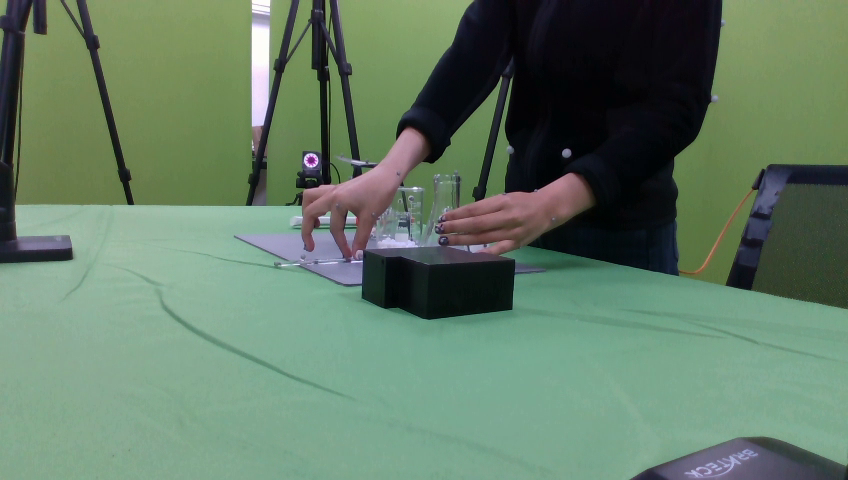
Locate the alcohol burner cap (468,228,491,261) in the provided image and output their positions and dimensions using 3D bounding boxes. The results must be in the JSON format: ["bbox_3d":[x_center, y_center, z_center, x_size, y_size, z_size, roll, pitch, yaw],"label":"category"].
[{"bbox_3d":[0.082,0.006,0.878,0.034,0.048,0.034,4,7,0],"label":"alcohol burner cap"}]

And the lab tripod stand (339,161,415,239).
[{"bbox_3d":[-0.082,-0.070,1.059,0.148,0.131,0.148,4,6,0],"label":"lab tripod stand"}]

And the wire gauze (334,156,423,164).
[{"bbox_3d":[-0.081,-0.137,1.051,0.122,0.011,0.124,0,8,-30],"label":"wire gauze"}]

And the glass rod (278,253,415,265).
[{"bbox_3d":[-0.097,0.024,0.805,0.201,0.008,0.008,-3,8,-33],"label":"glass rod"}]

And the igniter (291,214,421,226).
[{"bbox_3d":[-0.135,-0.041,1.250,0.278,0.025,0.057,-1,-3,-28],"label":"igniter"}]

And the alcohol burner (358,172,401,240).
[{"bbox_3d":[-0.077,-0.061,1.065,0.078,0.119,0.078,4,9,0],"label":"alcohol burner"}]

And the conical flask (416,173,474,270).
[{"bbox_3d":[0.028,-0.025,0.778,0.075,0.122,0.075,2,6,0],"label":"conical flask"}]

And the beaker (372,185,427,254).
[{"bbox_3d":[-0.038,-0.031,0.905,0.084,0.100,0.073,-1,7,-21],"label":"beaker"}]
